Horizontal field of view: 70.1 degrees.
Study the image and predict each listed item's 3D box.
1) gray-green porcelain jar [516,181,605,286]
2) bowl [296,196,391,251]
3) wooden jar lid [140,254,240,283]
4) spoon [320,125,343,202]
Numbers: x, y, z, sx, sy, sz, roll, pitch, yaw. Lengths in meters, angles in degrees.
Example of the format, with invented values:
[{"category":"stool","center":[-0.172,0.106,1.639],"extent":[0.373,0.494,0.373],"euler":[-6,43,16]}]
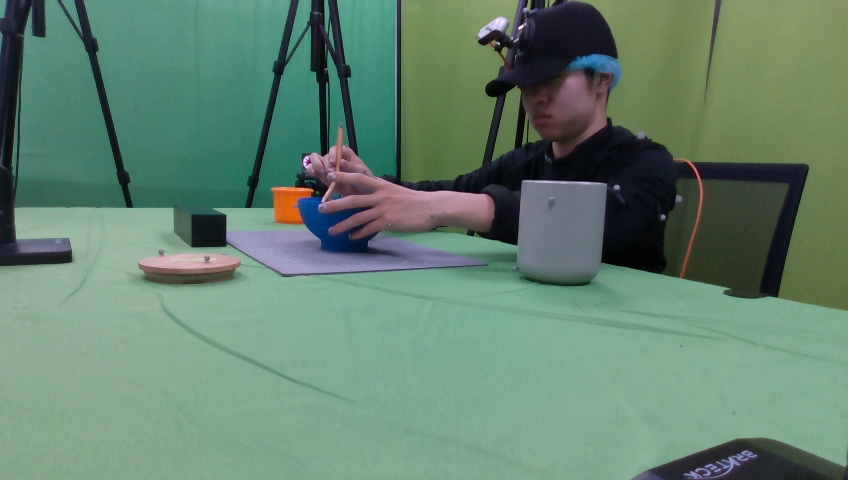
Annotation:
[{"category":"gray-green porcelain jar","center":[0.172,-0.010,0.768],"extent":[0.106,0.126,0.106],"euler":[2,7,0]},{"category":"bowl","center":[-0.128,-0.026,0.957],"extent":[0.151,0.077,0.151],"euler":[3,7,0]},{"category":"wooden jar lid","center":[-0.269,0.032,0.698],"extent":[0.108,0.020,0.108],"euler":[2,5,0]},{"category":"spoon","center":[-0.149,-0.103,0.989],"extent":[0.021,0.193,0.042],"euler":[7,-22,8]}]
